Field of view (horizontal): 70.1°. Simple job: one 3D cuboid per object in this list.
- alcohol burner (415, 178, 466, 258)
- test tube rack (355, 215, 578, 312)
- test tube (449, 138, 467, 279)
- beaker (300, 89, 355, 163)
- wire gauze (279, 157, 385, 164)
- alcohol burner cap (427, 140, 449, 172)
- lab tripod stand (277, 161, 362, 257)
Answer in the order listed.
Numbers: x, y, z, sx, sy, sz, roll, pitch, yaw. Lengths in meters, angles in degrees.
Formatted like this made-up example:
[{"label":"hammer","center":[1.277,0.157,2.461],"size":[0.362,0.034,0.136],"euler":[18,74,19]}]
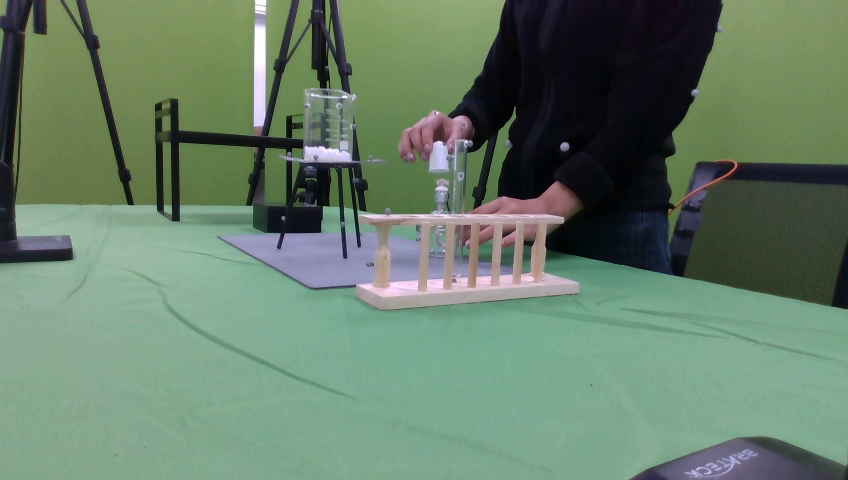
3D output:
[{"label":"alcohol burner","center":[0.025,-0.033,0.902],"size":[0.078,0.119,0.078],"euler":[2,5,0]},{"label":"test tube rack","center":[0.053,0.018,0.641],"size":[0.243,0.085,0.066],"euler":[-1,8,-29]},{"label":"test tube","center":[0.035,-0.033,0.645],"size":[0.017,0.150,0.017],"euler":[3,4,0]},{"label":"beaker","center":[-0.136,-0.161,0.867],"size":[0.083,0.100,0.074],"euler":[5,8,24]},{"label":"wire gauze","center":[-0.134,-0.113,0.875],"size":[0.122,0.011,0.124],"euler":[-1,6,-30]},{"label":"alcohol burner cap","center":[0.023,-0.124,0.900],"size":[0.034,0.048,0.034],"euler":[6,1,0]},{"label":"lab tripod stand","center":[-0.143,-0.049,0.884],"size":[0.148,0.131,0.148],"euler":[1,9,0]}]
